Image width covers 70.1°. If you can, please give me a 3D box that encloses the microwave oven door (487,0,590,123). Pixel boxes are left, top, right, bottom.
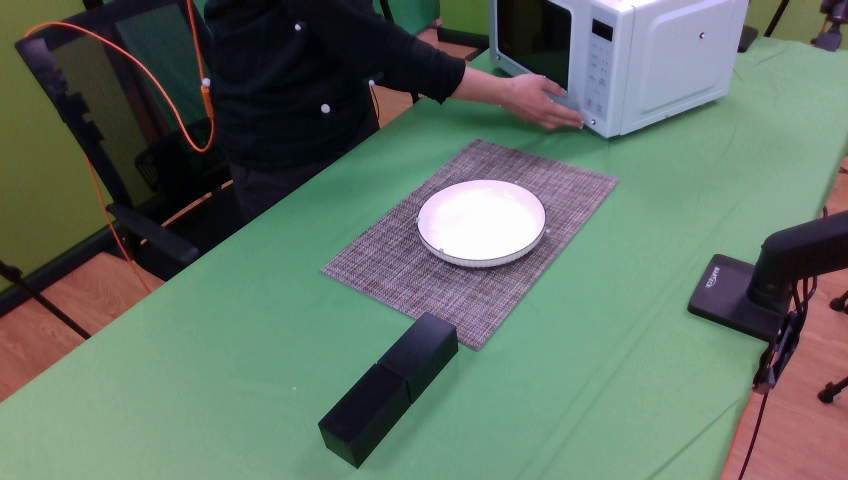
[{"bbox_3d":[0.232,-0.420,1.231,0.039,0.245,0.352,-22,43,-16],"label":"microwave oven door"}]

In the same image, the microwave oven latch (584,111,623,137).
[{"bbox_3d":[0.337,-0.222,1.142,0.030,0.029,0.078,-21,42,-14],"label":"microwave oven latch"}]

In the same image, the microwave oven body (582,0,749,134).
[{"bbox_3d":[0.382,-0.444,1.246,0.327,0.261,0.437,-22,42,-16],"label":"microwave oven body"}]

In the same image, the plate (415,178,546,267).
[{"bbox_3d":[0.091,-0.026,0.970,0.207,0.039,0.206,-4,41,4],"label":"plate"}]

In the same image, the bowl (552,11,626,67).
[{"bbox_3d":[0.343,-0.418,1.278,0.151,0.077,0.150,-1,41,1],"label":"bowl"}]
